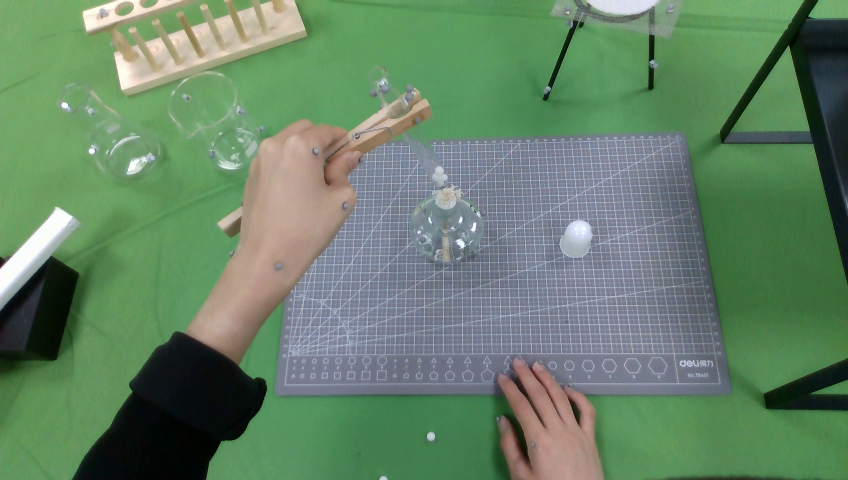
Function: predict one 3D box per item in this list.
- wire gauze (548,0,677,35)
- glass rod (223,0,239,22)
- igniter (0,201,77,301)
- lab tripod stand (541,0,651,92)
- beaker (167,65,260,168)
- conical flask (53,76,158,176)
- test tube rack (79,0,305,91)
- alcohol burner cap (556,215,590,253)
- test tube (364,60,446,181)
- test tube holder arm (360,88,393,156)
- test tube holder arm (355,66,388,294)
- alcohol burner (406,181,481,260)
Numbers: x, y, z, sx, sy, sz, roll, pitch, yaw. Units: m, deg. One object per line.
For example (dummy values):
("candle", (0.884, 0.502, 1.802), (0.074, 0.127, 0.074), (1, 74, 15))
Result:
("wire gauze", (0.205, -0.270, 0.624), (0.121, 0.011, 0.124), (20, 71, 9))
("glass rod", (-0.261, -0.333, 0.705), (0.008, 0.201, 0.008), (-5, 60, 9))
("igniter", (-0.454, 0.074, 0.599), (0.057, 0.025, 0.275), (26, 71, 23))
("lab tripod stand", (0.201, -0.242, 0.686), (0.148, 0.132, 0.147), (-1, 66, 2))
("beaker", (-0.234, -0.132, 0.684), (0.074, 0.101, 0.083), (14, 69, 10))
("conical flask", (-0.360, -0.131, 0.678), (0.075, 0.123, 0.075), (-1, 67, 3))
("test tube rack", (-0.282, -0.275, 0.753), (0.242, 0.086, 0.066), (-20, 67, -5))
("alcohol burner cap", (0.159, -0.009, 0.638), (0.034, 0.048, 0.033), (-1, 67, 2))
("test tube", (-0.011, -0.089, 0.483), (0.017, 0.152, 0.017), (-8, 63, 17))
("test tube holder arm", (-0.037, -0.085, 0.466), (0.015, 0.088, 0.010), (6, 63, -11))
("test tube holder arm", (-0.042, -0.046, 0.478), (0.015, 0.013, 0.178), (3, 93, -15))
("alcohol burner", (0.020, -0.026, 0.614), (0.078, 0.120, 0.077), (0, 66, 1))
